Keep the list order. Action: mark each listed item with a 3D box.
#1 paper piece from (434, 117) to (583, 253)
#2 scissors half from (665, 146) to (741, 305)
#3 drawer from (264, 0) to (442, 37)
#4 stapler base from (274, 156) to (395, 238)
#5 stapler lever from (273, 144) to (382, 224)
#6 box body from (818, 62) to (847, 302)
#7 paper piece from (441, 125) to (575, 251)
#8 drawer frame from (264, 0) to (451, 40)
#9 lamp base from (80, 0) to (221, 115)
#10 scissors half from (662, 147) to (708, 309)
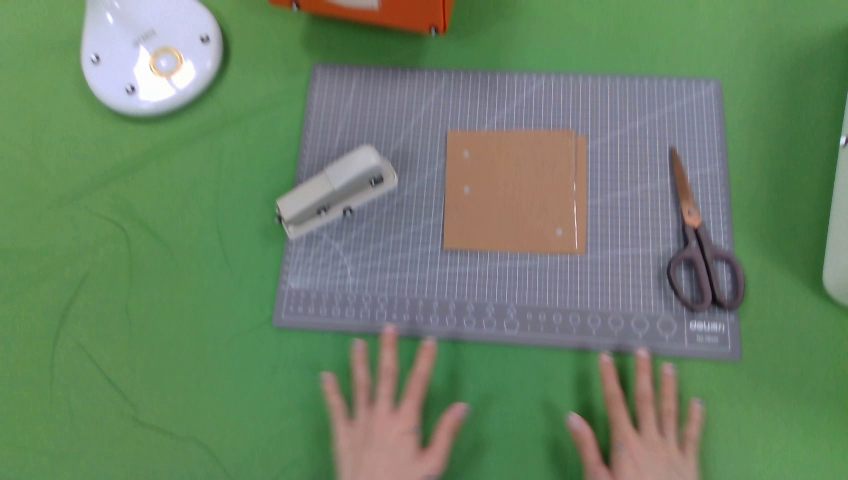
[{"bbox_3d":[0.090,-0.061,0.641,0.135,0.004,0.135,12,75,13],"label":"paper piece"},{"bbox_3d":[0.273,-0.019,0.606,0.040,0.013,0.174,-13,71,-5],"label":"scissors half"},{"bbox_3d":[-0.056,-0.336,0.647,0.194,0.074,0.210,12,72,7],"label":"drawer"},{"bbox_3d":[-0.094,-0.050,0.628,0.130,0.024,0.041,-28,69,-5],"label":"stapler base"},{"bbox_3d":[-0.097,-0.057,0.605,0.118,0.040,0.026,-28,69,-5],"label":"stapler lever"},{"bbox_3d":[0.532,-0.093,0.540,0.253,0.161,0.362,16,73,8],"label":"box body"},{"bbox_3d":[0.086,-0.056,0.628,0.136,0.009,0.137,1,74,7],"label":"paper piece"},{"bbox_3d":[-0.056,-0.341,0.651,0.201,0.083,0.212,12,74,7],"label":"drawer frame"},{"bbox_3d":[-0.326,-0.246,0.624,0.178,0.181,0.160,36,76,16],"label":"lamp base"},{"bbox_3d":[0.253,-0.017,0.604,0.040,0.013,0.174,5,69,-4],"label":"scissors half"}]
